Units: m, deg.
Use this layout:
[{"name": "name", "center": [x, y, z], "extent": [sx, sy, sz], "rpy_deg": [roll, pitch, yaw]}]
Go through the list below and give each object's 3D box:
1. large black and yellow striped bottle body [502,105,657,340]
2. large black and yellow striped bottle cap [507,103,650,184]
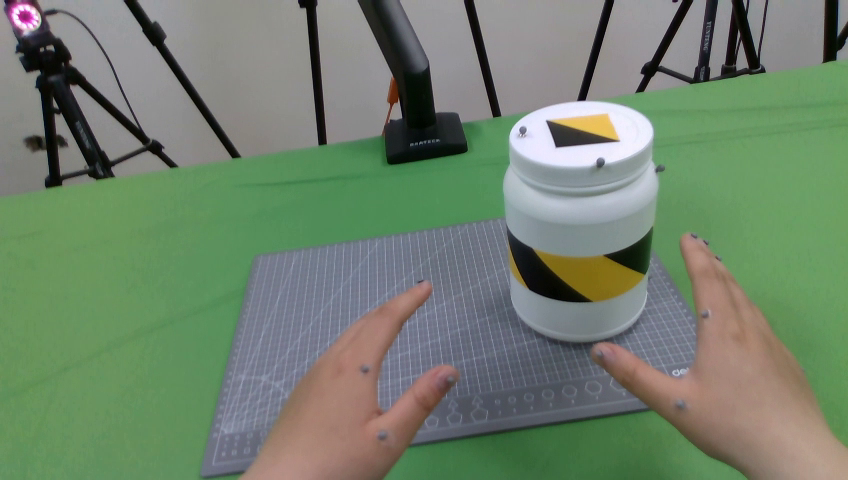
[{"name": "large black and yellow striped bottle body", "center": [0.139, -0.016, 0.550], "extent": [0.131, 0.186, 0.129], "rpy_deg": [-6, 37, 5]}, {"name": "large black and yellow striped bottle cap", "center": [0.126, -0.083, 0.500], "extent": [0.115, 0.019, 0.114], "rpy_deg": [-5, 36, 4]}]
